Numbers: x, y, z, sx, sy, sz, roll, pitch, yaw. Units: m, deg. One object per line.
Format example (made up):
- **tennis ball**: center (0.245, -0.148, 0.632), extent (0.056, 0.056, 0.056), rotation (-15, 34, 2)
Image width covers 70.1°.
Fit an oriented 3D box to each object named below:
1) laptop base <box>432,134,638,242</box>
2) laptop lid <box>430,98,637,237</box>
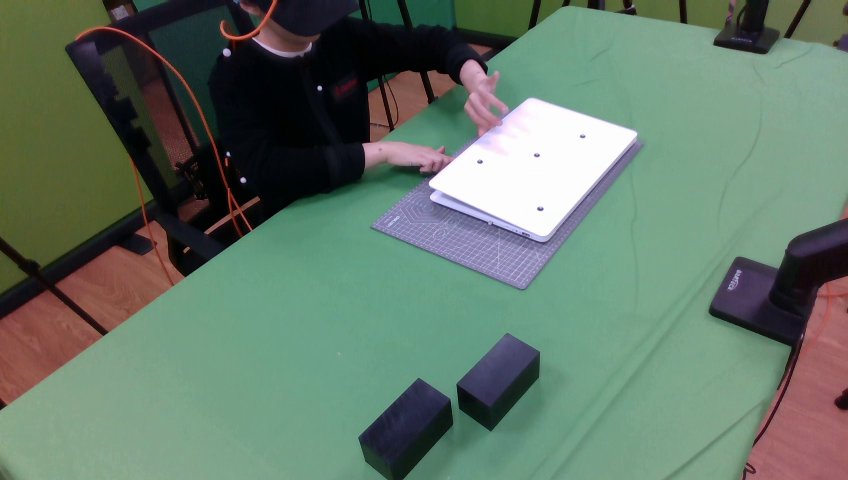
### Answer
- **laptop base**: center (0.208, -0.129, 1.098), extent (0.233, 0.023, 0.355), rotation (20, 48, 33)
- **laptop lid**: center (0.204, -0.148, 1.083), extent (0.240, 0.013, 0.358), rotation (28, 51, 28)
